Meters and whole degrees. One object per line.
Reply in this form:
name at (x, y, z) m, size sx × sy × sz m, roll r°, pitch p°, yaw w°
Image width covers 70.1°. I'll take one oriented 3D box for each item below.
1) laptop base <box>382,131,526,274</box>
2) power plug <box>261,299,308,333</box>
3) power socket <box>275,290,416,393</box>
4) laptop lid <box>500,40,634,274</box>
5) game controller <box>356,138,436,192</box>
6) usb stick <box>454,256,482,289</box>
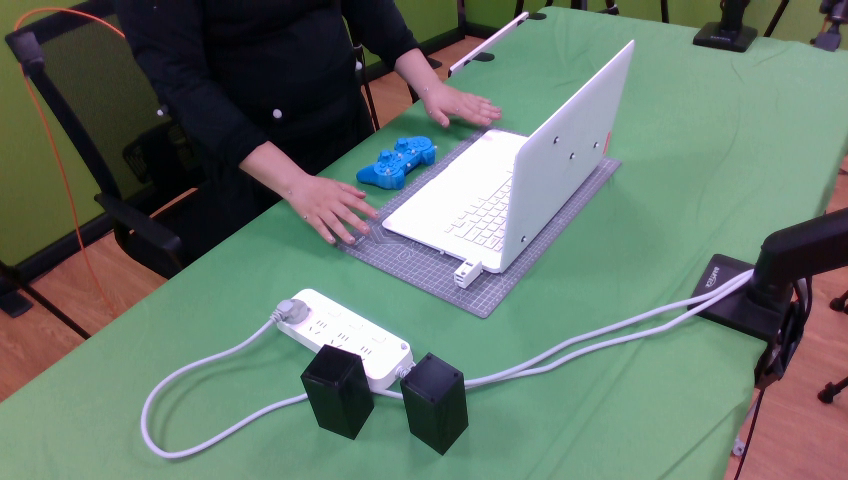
laptop base at (0.123, -0.081, 1.049) m, size 0.233 × 0.023 × 0.355 m, roll 20°, pitch 47°, yaw 33°
power plug at (-0.193, 0.110, 0.830) m, size 0.073 × 0.053 × 0.035 m, roll -36°, pitch 48°, yaw -23°
power socket at (-0.114, 0.132, 0.821) m, size 0.225 × 0.033 × 0.072 m, roll 24°, pitch 48°, yaw 32°
laptop lid at (0.218, -0.128, 0.906) m, size 0.013 × 0.242 × 0.358 m, roll 28°, pitch 50°, yaw 25°
game controller at (-0.048, -0.149, 1.136) m, size 0.096 × 0.052 × 0.155 m, roll 27°, pitch 51°, yaw 28°
usb stick at (0.069, 0.044, 0.891) m, size 0.021 × 0.027 × 0.059 m, roll 22°, pitch 44°, yaw 32°
